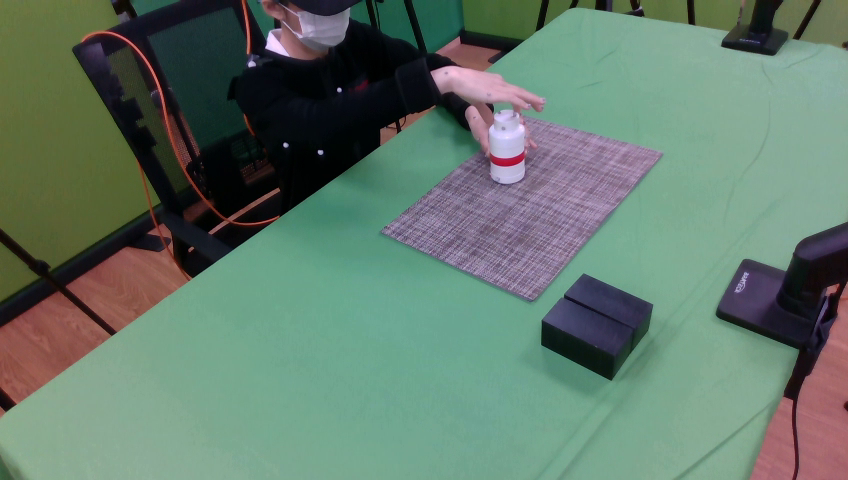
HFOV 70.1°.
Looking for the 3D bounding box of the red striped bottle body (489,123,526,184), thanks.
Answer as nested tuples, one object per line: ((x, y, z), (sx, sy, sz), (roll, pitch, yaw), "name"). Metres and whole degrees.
((0.147, -0.164, 1.064), (0.063, 0.120, 0.062), (-5, 39, 4), "red striped bottle body")

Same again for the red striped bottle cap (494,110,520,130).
((0.141, -0.205, 1.029), (0.044, 0.018, 0.044), (-3, 39, 3), "red striped bottle cap")
